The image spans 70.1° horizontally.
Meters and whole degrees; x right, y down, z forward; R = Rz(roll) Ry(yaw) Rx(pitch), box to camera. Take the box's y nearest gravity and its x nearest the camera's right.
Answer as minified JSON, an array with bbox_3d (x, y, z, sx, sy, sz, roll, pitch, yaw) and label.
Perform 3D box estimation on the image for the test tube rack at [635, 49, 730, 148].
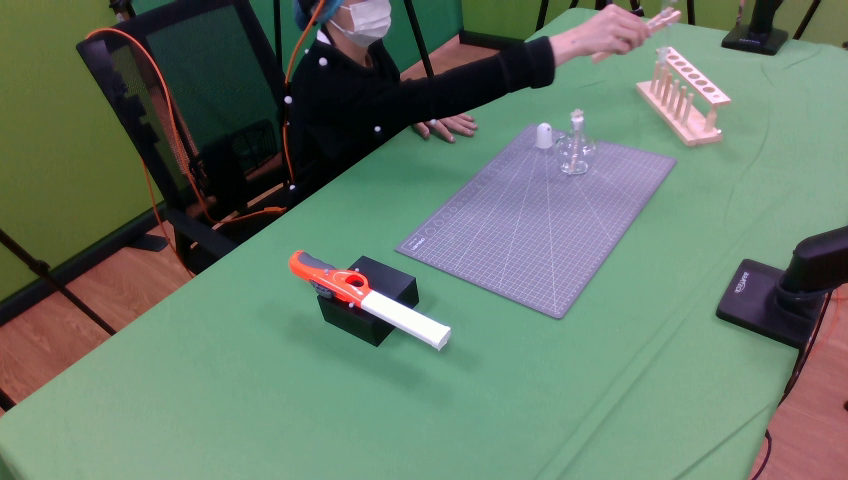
[{"bbox_3d":[0.497,-0.283,1.184,0.067,0.085,0.240,-10,40,-2],"label":"test tube rack"}]

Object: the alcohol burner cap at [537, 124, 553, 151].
[{"bbox_3d":[0.231,-0.199,1.158,0.034,0.048,0.033,-5,41,5],"label":"alcohol burner cap"}]

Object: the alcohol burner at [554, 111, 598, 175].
[{"bbox_3d":[0.270,-0.175,1.066,0.078,0.119,0.077,-4,42,4],"label":"alcohol burner"}]

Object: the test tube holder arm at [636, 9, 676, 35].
[{"bbox_3d":[0.394,-0.366,1.028,0.088,0.015,0.010,-37,54,-15],"label":"test tube holder arm"}]

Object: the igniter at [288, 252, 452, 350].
[{"bbox_3d":[-0.084,0.077,0.821,0.274,0.025,0.057,23,48,27],"label":"igniter"}]

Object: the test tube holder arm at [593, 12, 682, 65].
[{"bbox_3d":[0.360,-0.339,1.016,0.179,0.015,0.013,-30,52,-10],"label":"test tube holder arm"}]

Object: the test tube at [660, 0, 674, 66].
[{"bbox_3d":[0.421,-0.364,1.047,0.017,0.151,0.017,-8,53,12],"label":"test tube"}]
